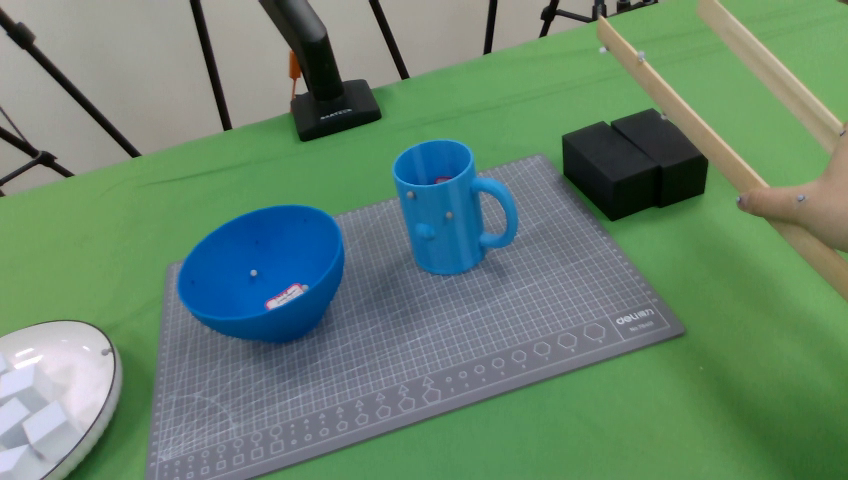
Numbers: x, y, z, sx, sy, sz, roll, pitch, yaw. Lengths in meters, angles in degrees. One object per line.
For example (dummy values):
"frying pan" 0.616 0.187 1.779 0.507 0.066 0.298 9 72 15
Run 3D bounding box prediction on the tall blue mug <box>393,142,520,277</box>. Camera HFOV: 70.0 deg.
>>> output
"tall blue mug" 0.034 -0.030 0.583 0.107 0.109 0.077 -10 40 4

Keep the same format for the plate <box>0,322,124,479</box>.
"plate" -0.362 0.161 0.527 0.209 0.038 0.207 -7 40 6

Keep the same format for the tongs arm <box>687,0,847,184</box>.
"tongs arm" 0.296 -0.078 0.462 0.028 0.028 0.383 -9 52 -9

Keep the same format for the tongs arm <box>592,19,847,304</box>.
"tongs arm" 0.241 -0.061 0.454 0.051 0.027 0.380 -16 53 -10

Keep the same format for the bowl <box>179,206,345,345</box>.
"bowl" -0.139 0.045 0.566 0.151 0.077 0.150 -8 40 7
